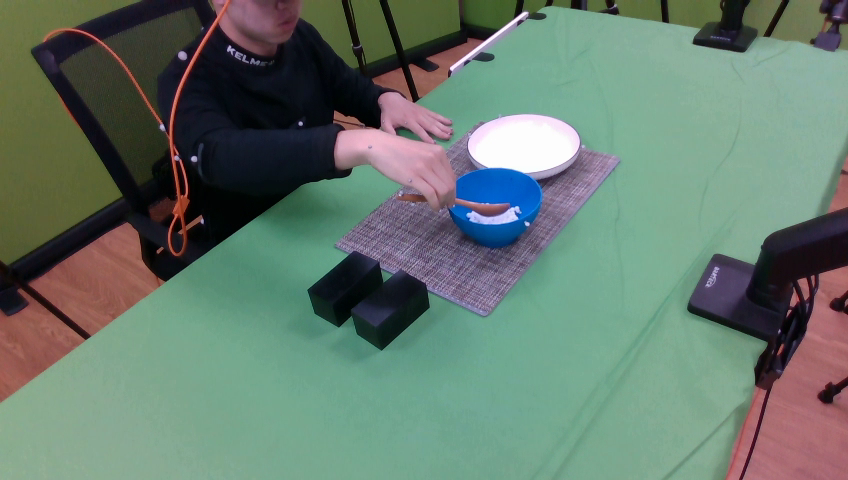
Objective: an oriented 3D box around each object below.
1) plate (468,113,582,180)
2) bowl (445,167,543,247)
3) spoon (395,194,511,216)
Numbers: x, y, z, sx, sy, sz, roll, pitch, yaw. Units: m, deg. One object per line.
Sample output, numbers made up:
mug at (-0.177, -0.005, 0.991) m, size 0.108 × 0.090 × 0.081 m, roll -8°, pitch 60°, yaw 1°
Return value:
plate at (0.186, -0.169, 1.122) m, size 0.207 × 0.039 × 0.206 m, roll -4°, pitch 40°, yaw 4°
bowl at (0.111, -0.042, 0.952) m, size 0.151 × 0.077 × 0.150 m, roll -4°, pitch 41°, yaw 4°
spoon at (0.045, -0.053, 0.877) m, size 0.195 × 0.041 × 0.021 m, roll 7°, pitch 69°, yaw -27°
